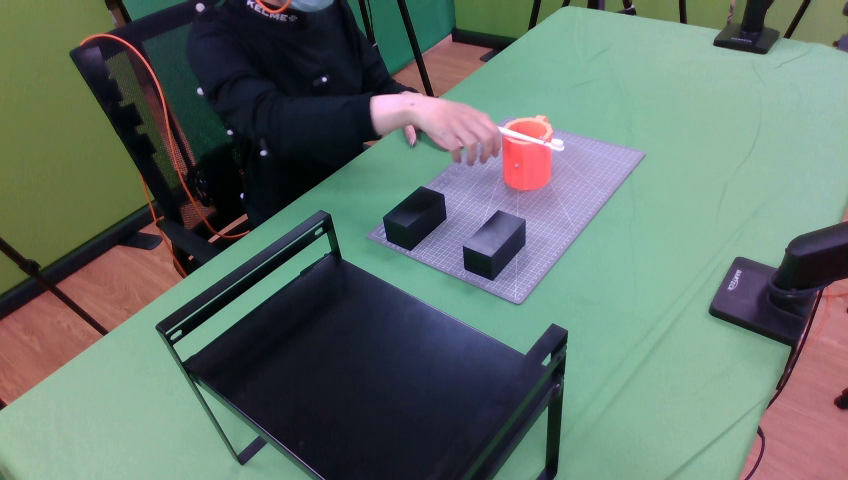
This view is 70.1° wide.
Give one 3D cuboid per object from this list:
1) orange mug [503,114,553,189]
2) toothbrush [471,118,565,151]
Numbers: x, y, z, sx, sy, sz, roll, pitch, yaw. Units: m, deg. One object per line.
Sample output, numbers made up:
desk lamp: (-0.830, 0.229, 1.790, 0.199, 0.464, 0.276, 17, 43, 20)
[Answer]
orange mug: (0.190, -0.164, 1.071, 0.083, 0.101, 0.126, 16, 50, 25)
toothbrush: (0.154, -0.181, 1.014, 0.180, 0.017, 0.014, 23, 59, 30)
